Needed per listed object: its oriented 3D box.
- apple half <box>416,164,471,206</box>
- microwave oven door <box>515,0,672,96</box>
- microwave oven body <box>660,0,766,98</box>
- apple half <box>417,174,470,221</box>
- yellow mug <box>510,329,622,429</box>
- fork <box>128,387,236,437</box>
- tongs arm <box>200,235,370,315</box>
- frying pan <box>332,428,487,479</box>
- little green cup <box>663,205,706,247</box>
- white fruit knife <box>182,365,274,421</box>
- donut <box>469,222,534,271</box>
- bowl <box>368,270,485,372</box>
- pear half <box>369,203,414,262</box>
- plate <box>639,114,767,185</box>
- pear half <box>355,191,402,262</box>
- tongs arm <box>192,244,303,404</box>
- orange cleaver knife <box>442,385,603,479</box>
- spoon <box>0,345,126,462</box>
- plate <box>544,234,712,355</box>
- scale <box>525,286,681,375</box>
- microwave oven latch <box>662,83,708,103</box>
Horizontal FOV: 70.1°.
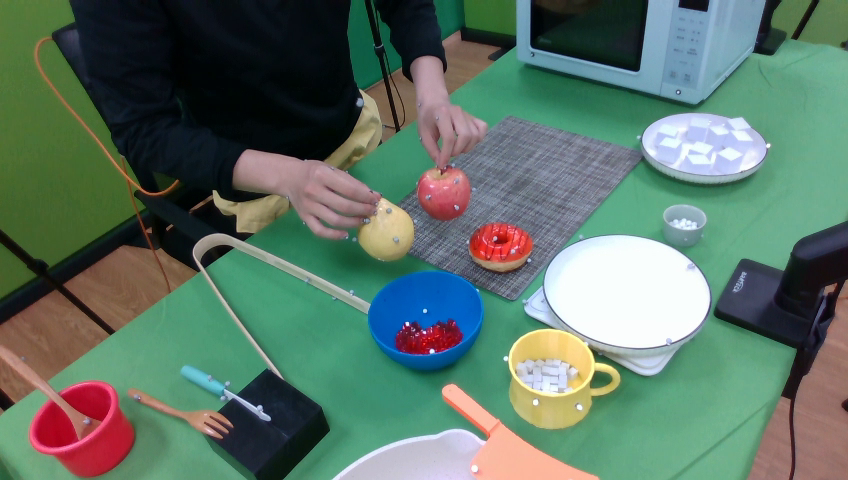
[{"bbox_3d":[0.030,-0.078,0.900,0.080,0.075,0.053,-10,35,10],"label":"apple half"},{"bbox_3d":[0.343,-0.454,1.259,0.353,0.245,0.039,26,51,33],"label":"microwave oven door"},{"bbox_3d":[0.472,-0.513,1.317,0.438,0.261,0.327,26,51,34],"label":"microwave oven body"},{"bbox_3d":[0.030,-0.054,0.869,0.081,0.081,0.032,-4,36,5],"label":"apple half"},{"bbox_3d":[0.168,0.164,0.721,0.130,0.064,0.099,0,40,8],"label":"yellow mug"},{"bbox_3d":[-0.305,0.207,0.744,0.206,0.019,0.028,3,40,36],"label":"fork"},{"bbox_3d":[-0.209,0.062,0.924,0.381,0.026,0.051,23,53,32],"label":"tongs arm"},{"bbox_3d":[-0.089,0.306,0.564,0.487,0.103,0.306,9,41,7],"label":"frying pan"},{"bbox_3d":[0.396,-0.020,0.926,0.061,0.039,0.061,-4,40,4],"label":"little green cup"},{"bbox_3d":[-0.245,0.188,0.747,0.205,0.027,0.016,9,41,41],"label":"white fruit knife"},{"bbox_3d":[0.118,0.009,0.923,0.099,0.048,0.098,-3,38,3],"label":"donut"},{"bbox_3d":[0.007,0.119,0.791,0.151,0.077,0.150,-5,39,4],"label":"bowl"},{"bbox_3d":[-0.037,-0.007,0.795,0.031,0.088,0.070,22,52,36],"label":"pear half"},{"bbox_3d":[0.489,-0.157,1.074,0.207,0.039,0.206,-4,40,4],"label":"plate"},{"bbox_3d":[-0.064,-0.027,0.810,0.055,0.110,0.076,25,53,35],"label":"pear half"},{"bbox_3d":[-0.268,0.109,0.883,0.028,0.028,0.384,-35,47,-18],"label":"tongs arm"},{"bbox_3d":[0.086,0.219,0.612,0.209,0.012,0.077,28,49,35],"label":"orange cleaver knife"},{"bbox_3d":[-0.434,0.192,0.720,0.194,0.021,0.042,47,53,-7],"label":"spoon"},{"bbox_3d":[0.262,0.072,0.792,0.209,0.038,0.208,-4,41,4],"label":"plate"},{"bbox_3d":[0.254,0.091,0.821,0.199,0.032,0.149,27,51,35],"label":"scale"},{"bbox_3d":[0.517,-0.296,1.204,0.078,0.029,0.030,27,52,35],"label":"microwave oven latch"}]
